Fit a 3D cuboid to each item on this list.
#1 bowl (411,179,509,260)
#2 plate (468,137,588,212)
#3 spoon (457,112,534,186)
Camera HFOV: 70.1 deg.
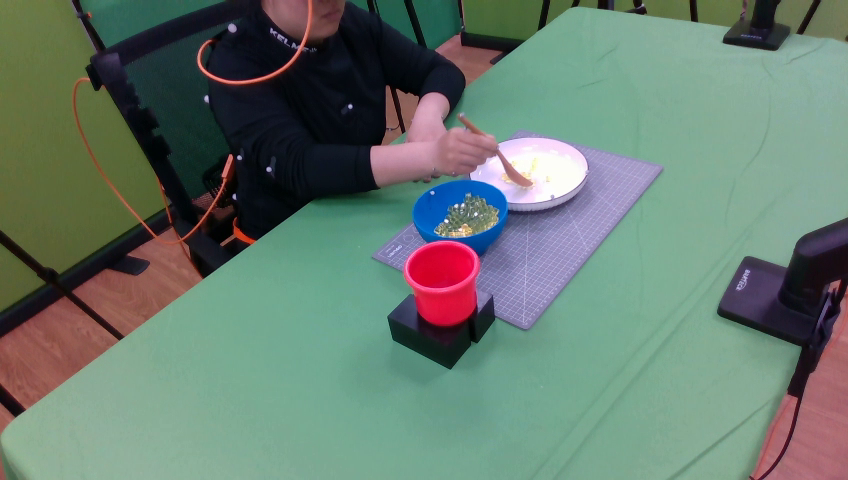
[{"bbox_3d":[0.060,-0.022,0.949,0.151,0.077,0.150,-5,40,5],"label":"bowl"},{"bbox_3d":[0.182,-0.111,1.064,0.207,0.039,0.206,-5,40,5],"label":"plate"},{"bbox_3d":[0.118,-0.147,0.995,0.021,0.195,0.041,-52,29,-9],"label":"spoon"}]
